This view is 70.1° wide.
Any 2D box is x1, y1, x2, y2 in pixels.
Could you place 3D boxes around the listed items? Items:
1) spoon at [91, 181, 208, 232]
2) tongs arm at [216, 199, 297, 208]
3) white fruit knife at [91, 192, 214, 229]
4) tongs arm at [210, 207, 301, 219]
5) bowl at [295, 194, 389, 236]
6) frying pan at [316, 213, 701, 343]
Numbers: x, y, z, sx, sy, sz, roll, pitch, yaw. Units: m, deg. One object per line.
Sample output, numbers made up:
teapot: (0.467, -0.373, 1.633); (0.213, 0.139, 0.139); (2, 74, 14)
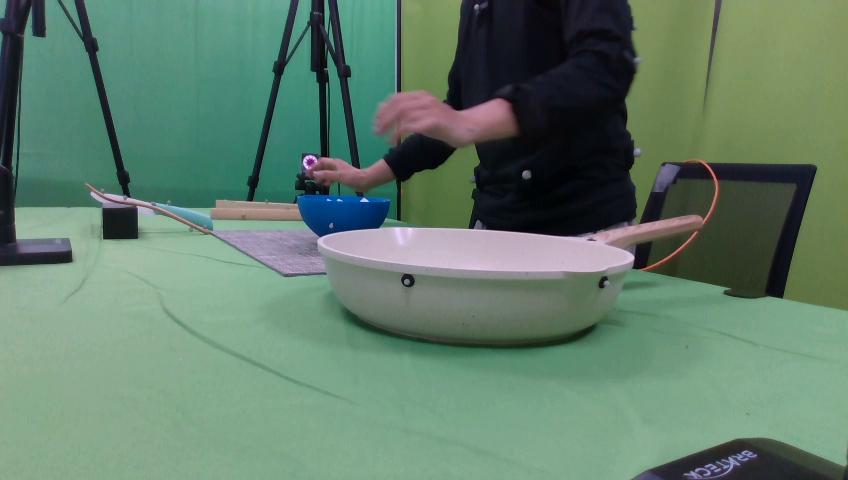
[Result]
spoon: (-0.461, -0.053, 1.023); (0.195, 0.021, 0.041); (21, 22, -24)
tongs arm: (-0.307, -0.076, 1.470); (0.386, 0.026, 0.050); (2, 8, -11)
white fruit knife: (-0.477, -0.055, 1.077); (0.208, 0.027, 0.016); (15, -5, -30)
tongs arm: (-0.287, -0.062, 1.393); (0.389, 0.028, 0.028); (0, 5, -23)
bowl: (-0.132, -0.032, 0.980); (0.151, 0.077, 0.151); (2, 7, 0)
frying pan: (0.133, 0.013, 0.629); (0.490, 0.102, 0.305); (-12, 14, -30)
